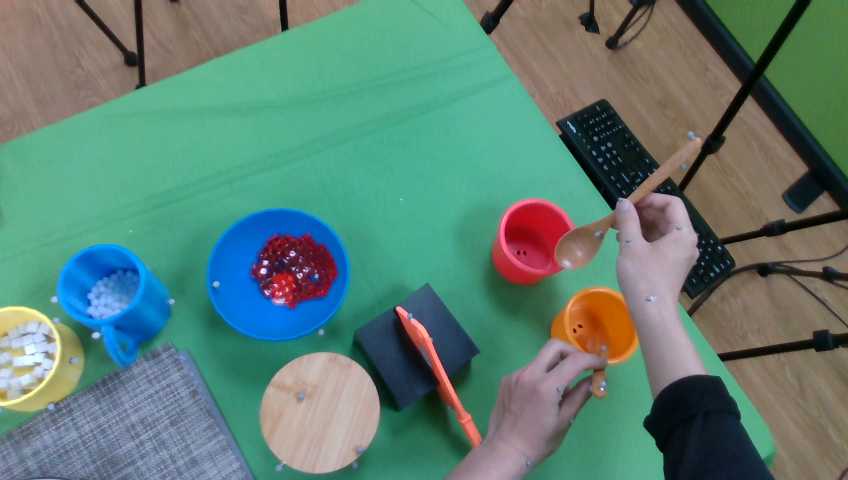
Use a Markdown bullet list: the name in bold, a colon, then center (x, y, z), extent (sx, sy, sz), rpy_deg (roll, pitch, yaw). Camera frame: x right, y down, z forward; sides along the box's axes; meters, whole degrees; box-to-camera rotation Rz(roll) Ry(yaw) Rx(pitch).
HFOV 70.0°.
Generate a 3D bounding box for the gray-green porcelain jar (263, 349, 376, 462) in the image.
- **gray-green porcelain jar**: center (-0.106, 0.175, 0.627), extent (0.106, 0.127, 0.105), rpy_deg (3, 70, -8)

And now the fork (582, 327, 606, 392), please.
- **fork**: center (0.182, 0.122, 0.645), extent (0.028, 0.208, 0.018), rpy_deg (16, 98, 14)

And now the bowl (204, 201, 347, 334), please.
- **bowl**: center (-0.164, 0.040, 0.689), extent (0.152, 0.077, 0.150), rpy_deg (3, 71, -8)

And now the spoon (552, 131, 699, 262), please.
- **spoon**: center (0.208, -0.042, 0.633), extent (0.041, 0.194, 0.021), rpy_deg (50, 36, 10)

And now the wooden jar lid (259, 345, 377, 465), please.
- **wooden jar lid**: center (-0.099, 0.153, 0.568), extent (0.109, 0.021, 0.107), rpy_deg (4, 72, -11)

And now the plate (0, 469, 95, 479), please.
- **plate**: center (-0.371, 0.326, 0.574), extent (0.209, 0.038, 0.207), rpy_deg (3, 71, -8)

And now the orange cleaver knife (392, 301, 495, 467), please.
- **orange cleaver knife**: center (0.020, 0.160, 0.675), extent (0.012, 0.077, 0.212), rpy_deg (-32, 105, -20)

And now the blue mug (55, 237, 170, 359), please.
- **blue mug**: center (-0.323, 0.068, 0.639), extent (0.082, 0.106, 0.116), rpy_deg (-9, 73, -12)

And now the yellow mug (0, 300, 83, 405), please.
- **yellow mug**: center (-0.428, 0.129, 0.621), extent (0.100, 0.064, 0.130), rpy_deg (37, 71, 5)
